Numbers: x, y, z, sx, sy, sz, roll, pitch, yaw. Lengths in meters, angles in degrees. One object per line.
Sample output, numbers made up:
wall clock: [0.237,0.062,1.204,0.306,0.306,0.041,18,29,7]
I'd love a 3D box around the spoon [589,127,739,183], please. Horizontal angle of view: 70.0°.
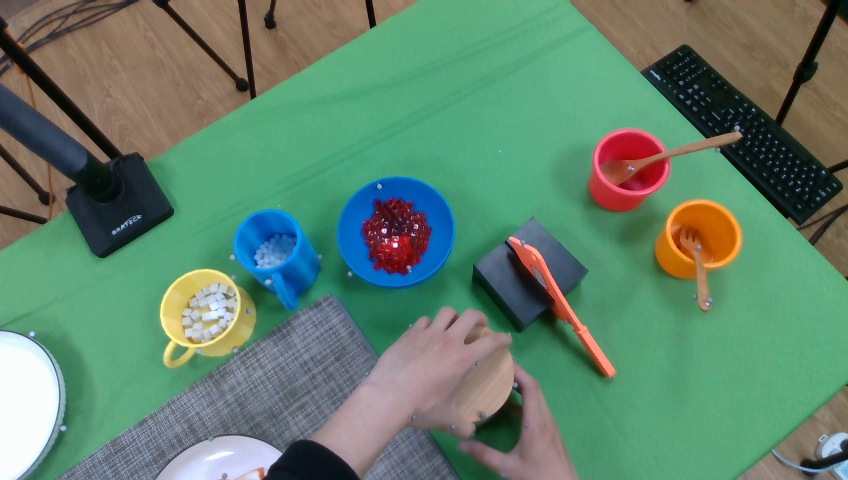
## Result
spoon: [0.302,-0.111,0.781,0.022,0.193,0.041,28,60,-36]

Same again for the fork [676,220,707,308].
fork: [0.325,0.023,0.730,0.028,0.019,0.206,26,29,5]

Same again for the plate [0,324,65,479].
plate: [-0.549,0.209,0.757,0.207,0.039,0.206,-1,71,2]

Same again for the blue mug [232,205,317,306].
blue mug: [-0.184,0.028,0.772,0.082,0.106,0.115,-15,70,-3]

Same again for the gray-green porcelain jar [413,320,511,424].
gray-green porcelain jar: [0.043,0.158,0.705,0.106,0.127,0.105,-1,70,2]

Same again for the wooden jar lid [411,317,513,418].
wooden jar lid: [0.040,0.136,0.645,0.108,0.021,0.107,0,67,-1]

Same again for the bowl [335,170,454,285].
bowl: [-0.036,-0.005,0.792,0.151,0.077,0.150,-1,71,2]

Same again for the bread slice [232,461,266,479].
bread slice: [-0.237,0.332,0.700,0.131,0.019,0.104,-21,70,-9]

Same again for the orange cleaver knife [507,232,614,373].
orange cleaver knife: [0.168,0.078,0.753,0.012,0.077,0.212,-37,103,-10]

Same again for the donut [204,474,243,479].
donut: [-0.228,0.313,0.674,0.099,0.048,0.098,0,69,0]

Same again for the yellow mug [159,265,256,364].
yellow mug: [-0.283,0.101,0.770,0.099,0.064,0.130,30,76,13]

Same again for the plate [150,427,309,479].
plate: [-0.225,0.325,0.699,0.209,0.038,0.207,-1,70,2]
